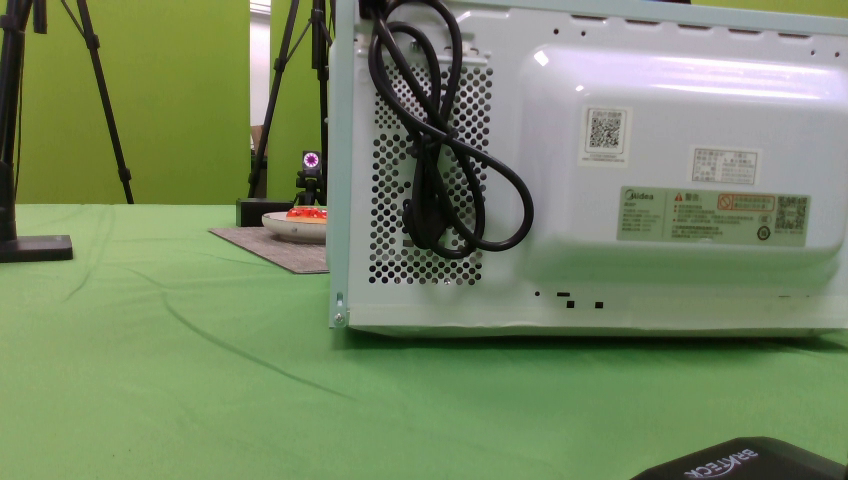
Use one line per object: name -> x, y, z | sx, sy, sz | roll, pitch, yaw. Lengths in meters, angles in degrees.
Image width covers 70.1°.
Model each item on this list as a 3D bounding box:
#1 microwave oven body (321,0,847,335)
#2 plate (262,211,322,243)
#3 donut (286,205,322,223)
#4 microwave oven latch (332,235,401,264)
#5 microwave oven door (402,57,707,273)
microwave oven body -> 0.133, -0.062, 0.568 | 0.443, 0.260, 0.325 | 2, 7, -8
plate -> -0.170, -0.023, 1.036 | 0.209, 0.038, 0.209 | 2, 7, 0
donut -> -0.186, -0.034, 1.031 | 0.099, 0.048, 0.099 | 3, 5, 0
microwave oven latch -> -0.066, 0.010, 0.700 | 0.079, 0.029, 0.030 | 2, 7, -8
microwave oven door -> 0.156, -0.086, 0.726 | 0.356, 0.243, 0.039 | 2, 8, -5
